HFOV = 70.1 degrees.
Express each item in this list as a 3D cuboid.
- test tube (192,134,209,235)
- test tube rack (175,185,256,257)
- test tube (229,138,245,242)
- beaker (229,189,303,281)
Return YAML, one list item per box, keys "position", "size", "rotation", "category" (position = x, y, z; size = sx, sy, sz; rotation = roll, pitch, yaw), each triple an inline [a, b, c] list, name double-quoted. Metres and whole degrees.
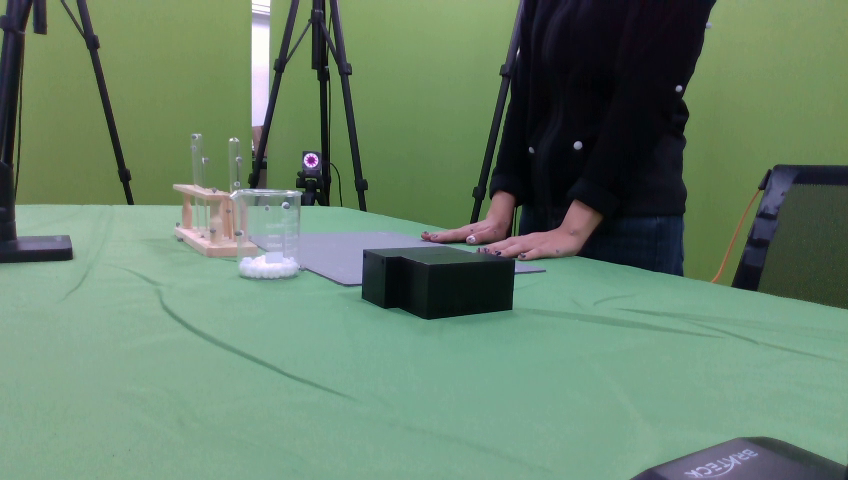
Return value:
- position: [-0.332, -0.082, 0.898]
  size: [0.017, 0.150, 0.017]
  rotation: [-2, 6, 0]
  category: "test tube"
- position: [-0.324, -0.035, 0.922]
  size: [0.067, 0.085, 0.241]
  rotation: [-2, 9, -31]
  category: "test tube rack"
- position: [-0.269, -0.071, 0.867]
  size: [0.017, 0.150, 0.017]
  rotation: [0, 9, 0]
  category: "test tube"
- position: [-0.181, -0.007, 0.695]
  size: [0.084, 0.100, 0.073]
  rotation: [-4, 9, -36]
  category: "beaker"
